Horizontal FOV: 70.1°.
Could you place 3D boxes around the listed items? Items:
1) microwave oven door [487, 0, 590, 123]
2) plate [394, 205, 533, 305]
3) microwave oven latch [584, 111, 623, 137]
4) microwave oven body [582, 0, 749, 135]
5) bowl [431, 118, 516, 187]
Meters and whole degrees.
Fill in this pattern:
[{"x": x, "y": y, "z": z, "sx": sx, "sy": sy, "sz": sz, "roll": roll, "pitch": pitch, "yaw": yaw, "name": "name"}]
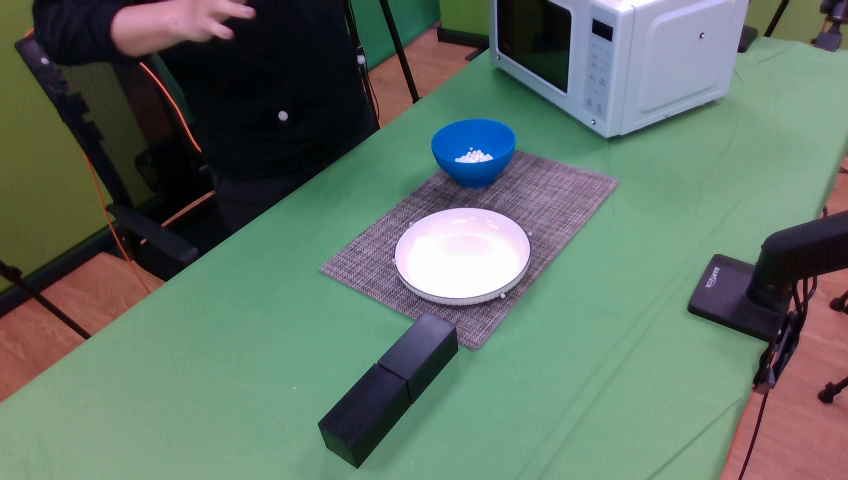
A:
[{"x": 0.232, "y": -0.420, "z": 1.231, "sx": 0.039, "sy": 0.245, "sz": 0.352, "roll": -22, "pitch": 43, "yaw": -16, "name": "microwave oven door"}, {"x": 0.059, "y": 0.025, "z": 0.915, "sx": 0.207, "sy": 0.039, "sz": 0.206, "roll": -4, "pitch": 41, "yaw": 4, "name": "plate"}, {"x": 0.337, "y": -0.222, "z": 1.142, "sx": 0.030, "sy": 0.029, "sz": 0.078, "roll": -21, "pitch": 42, "yaw": -14, "name": "microwave oven latch"}, {"x": 0.382, "y": -0.444, "z": 1.246, "sx": 0.327, "sy": 0.261, "sz": 0.437, "roll": -22, "pitch": 42, "yaw": -16, "name": "microwave oven body"}, {"x": 0.090, "y": -0.147, "z": 1.080, "sx": 0.151, "sy": 0.077, "sz": 0.150, "roll": -4, "pitch": 40, "yaw": 4, "name": "bowl"}]
